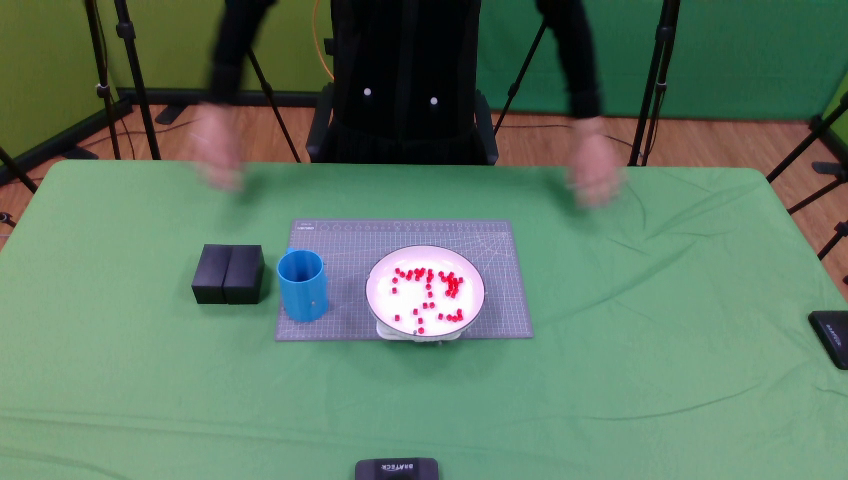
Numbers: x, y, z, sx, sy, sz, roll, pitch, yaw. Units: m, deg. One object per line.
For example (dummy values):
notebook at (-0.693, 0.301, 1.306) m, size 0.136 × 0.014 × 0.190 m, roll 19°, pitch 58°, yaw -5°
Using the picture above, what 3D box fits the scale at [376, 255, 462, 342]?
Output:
scale at (-0.010, 0.096, 1.094) m, size 0.149 × 0.032 × 0.199 m, roll 2°, pitch 46°, yaw -3°

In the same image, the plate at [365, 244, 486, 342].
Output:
plate at (0.001, 0.093, 1.051) m, size 0.209 × 0.038 × 0.208 m, roll 1°, pitch 46°, yaw -1°

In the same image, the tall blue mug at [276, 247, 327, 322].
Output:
tall blue mug at (-0.221, 0.072, 1.049) m, size 0.107 × 0.108 × 0.077 m, roll 30°, pitch 52°, yaw 22°
